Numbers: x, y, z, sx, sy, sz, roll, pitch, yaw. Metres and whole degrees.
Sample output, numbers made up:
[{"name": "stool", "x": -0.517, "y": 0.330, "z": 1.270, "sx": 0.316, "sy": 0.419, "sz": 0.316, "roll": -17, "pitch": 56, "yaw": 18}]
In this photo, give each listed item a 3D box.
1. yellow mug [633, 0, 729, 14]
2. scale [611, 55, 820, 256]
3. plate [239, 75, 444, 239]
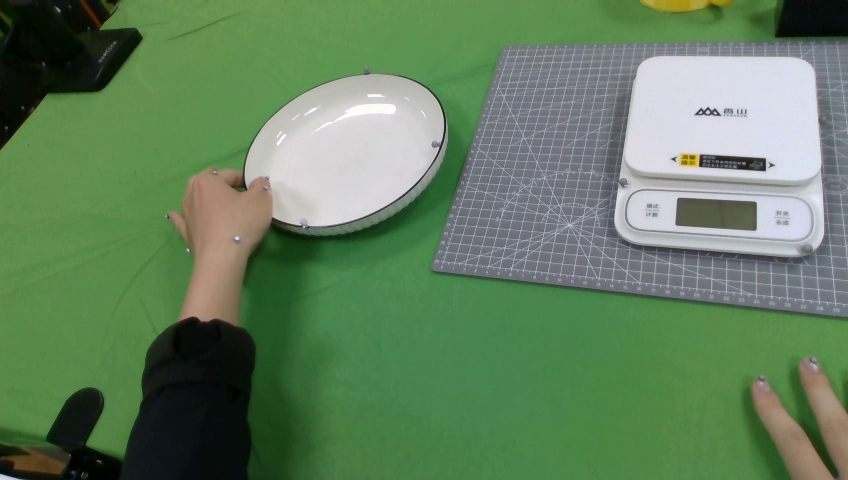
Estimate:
[{"name": "yellow mug", "x": 0.276, "y": -0.290, "z": 0.634, "sx": 0.100, "sy": 0.064, "sz": 0.129, "roll": -30, "pitch": 52, "yaw": -6}, {"name": "scale", "x": 0.241, "y": -0.079, "z": 0.506, "sx": 0.148, "sy": 0.032, "sz": 0.199, "roll": 5, "pitch": 57, "yaw": 20}, {"name": "plate", "x": -0.080, "y": -0.082, "z": 0.603, "sx": 0.209, "sy": 0.038, "sz": 0.207, "roll": -8, "pitch": 53, "yaw": 11}]
